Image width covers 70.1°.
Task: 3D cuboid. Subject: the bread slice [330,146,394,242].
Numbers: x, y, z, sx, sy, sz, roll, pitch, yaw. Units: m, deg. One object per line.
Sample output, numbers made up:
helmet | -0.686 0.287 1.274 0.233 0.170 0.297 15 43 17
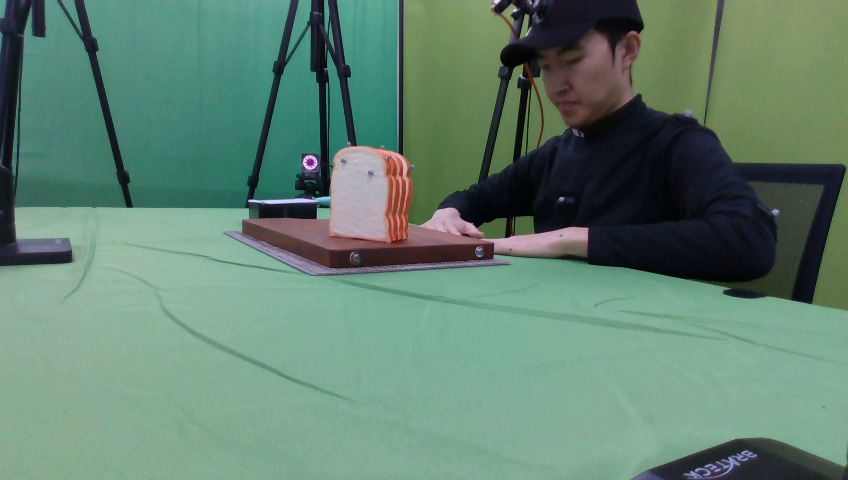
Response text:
bread slice | -0.090 -0.066 0.859 0.106 0.134 0.018 3 10 29

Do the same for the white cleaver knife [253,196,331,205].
white cleaver knife | -0.257 -0.088 1.307 0.065 0.021 0.288 8 7 30

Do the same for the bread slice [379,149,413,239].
bread slice | -0.063 -0.070 0.903 0.104 0.131 0.019 8 4 27
